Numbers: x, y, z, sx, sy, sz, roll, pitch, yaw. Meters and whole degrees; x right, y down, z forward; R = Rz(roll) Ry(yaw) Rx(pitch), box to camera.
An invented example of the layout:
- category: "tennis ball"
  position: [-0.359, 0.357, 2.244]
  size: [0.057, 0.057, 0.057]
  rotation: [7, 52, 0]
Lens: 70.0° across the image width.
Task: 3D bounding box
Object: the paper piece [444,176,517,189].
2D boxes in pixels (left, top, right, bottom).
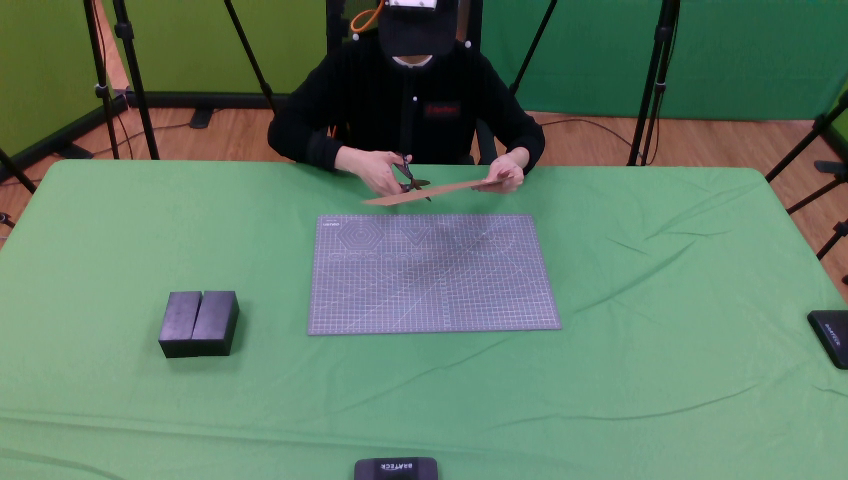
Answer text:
- category: "paper piece"
  position: [0.087, -0.105, 1.125]
  size: [0.136, 0.004, 0.135]
  rotation: [-12, 5, -23]

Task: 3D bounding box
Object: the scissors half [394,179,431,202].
- category: "scissors half"
  position: [-0.022, -0.102, 1.203]
  size: [0.013, 0.175, 0.040]
  rotation: [-11, 91, -24]

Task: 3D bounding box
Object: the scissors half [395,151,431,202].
- category: "scissors half"
  position: [-0.021, -0.125, 1.194]
  size: [0.013, 0.040, 0.174]
  rotation: [-6, 42, -25]

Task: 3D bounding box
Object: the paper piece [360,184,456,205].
- category: "paper piece"
  position: [-0.032, -0.079, 1.070]
  size: [0.138, 0.008, 0.135]
  rotation: [-16, 7, -23]
